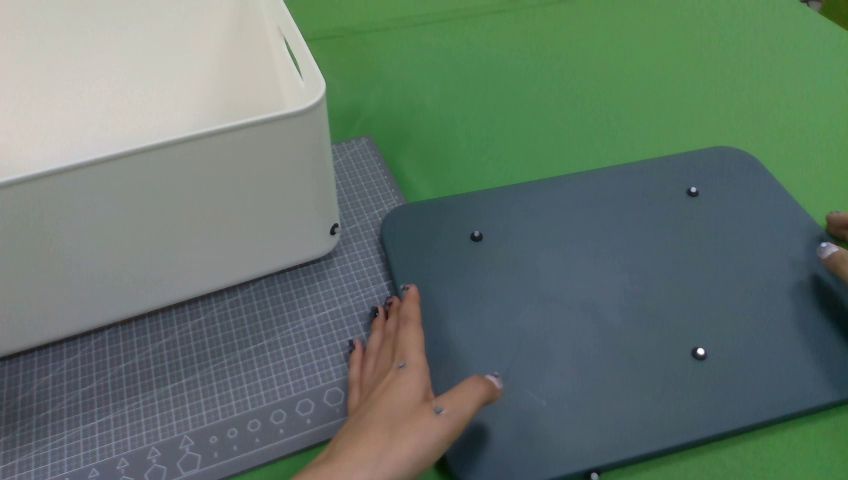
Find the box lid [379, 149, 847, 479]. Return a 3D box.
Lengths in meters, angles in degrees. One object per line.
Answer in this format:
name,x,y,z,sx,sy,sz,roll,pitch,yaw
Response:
box lid,0.162,0.037,0.484,0.372,0.015,0.260,-11,49,-10

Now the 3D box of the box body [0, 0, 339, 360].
box body,-0.270,-0.067,0.478,0.365,0.162,0.251,-18,50,-15
